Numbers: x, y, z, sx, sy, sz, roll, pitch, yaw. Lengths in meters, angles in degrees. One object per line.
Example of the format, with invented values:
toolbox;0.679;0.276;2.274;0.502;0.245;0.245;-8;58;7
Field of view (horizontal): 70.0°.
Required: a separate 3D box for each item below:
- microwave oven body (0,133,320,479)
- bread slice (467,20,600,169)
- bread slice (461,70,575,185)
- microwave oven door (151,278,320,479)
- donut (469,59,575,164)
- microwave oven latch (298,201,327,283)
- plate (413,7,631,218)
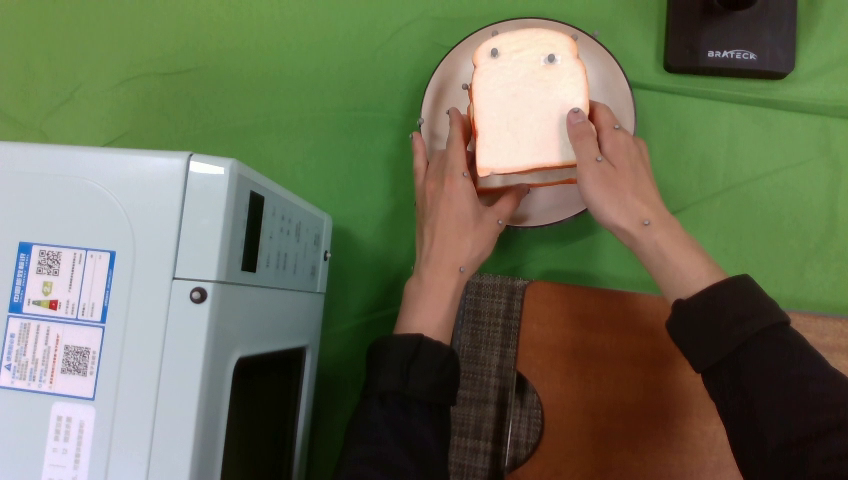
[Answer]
microwave oven body;-0.286;0.155;0.496;0.326;0.261;0.440;5;86;6
bread slice;0.088;-0.129;0.535;0.107;0.018;0.133;-10;77;4
bread slice;0.087;-0.123;0.595;0.105;0.019;0.131;-7;82;0
microwave oven door;-0.145;0.208;0.472;0.039;0.244;0.355;4;85;7
donut;0.091;-0.119;0.563;0.099;0.048;0.099;0;84;5
microwave oven latch;-0.112;0.001;0.589;0.030;0.029;0.079;5;86;6
plate;0.094;-0.123;0.598;0.207;0.039;0.207;0;85;6
